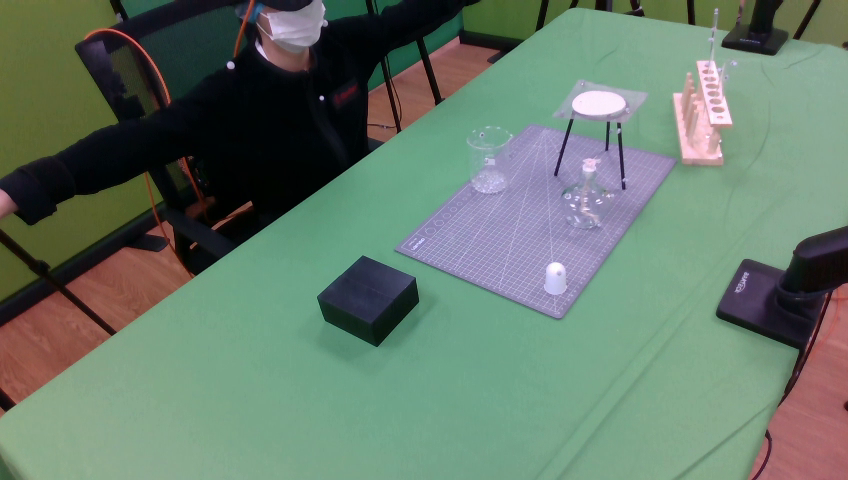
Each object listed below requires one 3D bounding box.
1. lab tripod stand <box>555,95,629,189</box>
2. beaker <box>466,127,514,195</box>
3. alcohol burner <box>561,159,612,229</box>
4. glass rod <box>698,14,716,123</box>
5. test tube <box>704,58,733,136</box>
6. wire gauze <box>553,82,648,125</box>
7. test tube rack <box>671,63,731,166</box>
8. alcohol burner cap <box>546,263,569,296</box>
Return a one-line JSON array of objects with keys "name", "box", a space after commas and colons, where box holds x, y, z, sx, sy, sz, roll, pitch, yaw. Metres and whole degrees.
[{"name": "lab tripod stand", "box": [0.300, -0.174, 1.045, 0.148, 0.132, 0.147, -5, 38, 5]}, {"name": "beaker", "box": [0.117, -0.136, 1.056, 0.084, 0.101, 0.073, -9, 40, -3]}, {"name": "alcohol burner", "box": [0.257, -0.077, 0.951, 0.078, 0.119, 0.077, -3, 40, 3]}, {"name": "glass rod", "box": [0.532, -0.320, 1.136, 0.008, 0.200, 0.008, 3, 12, 0]}, {"name": "test tube", "box": [0.516, -0.247, 1.062, 0.017, 0.151, 0.017, -3, 43, 4]}, {"name": "wire gauze", "box": [0.293, -0.226, 1.002, 0.120, 0.011, 0.125, 17, 45, 27]}, {"name": "test tube rack", "box": [0.513, -0.241, 1.132, 0.066, 0.085, 0.242, 4, 41, 14]}, {"name": "alcohol burner cap", "box": [0.191, 0.053, 0.862, 0.034, 0.048, 0.033, -5, 40, 4]}]
